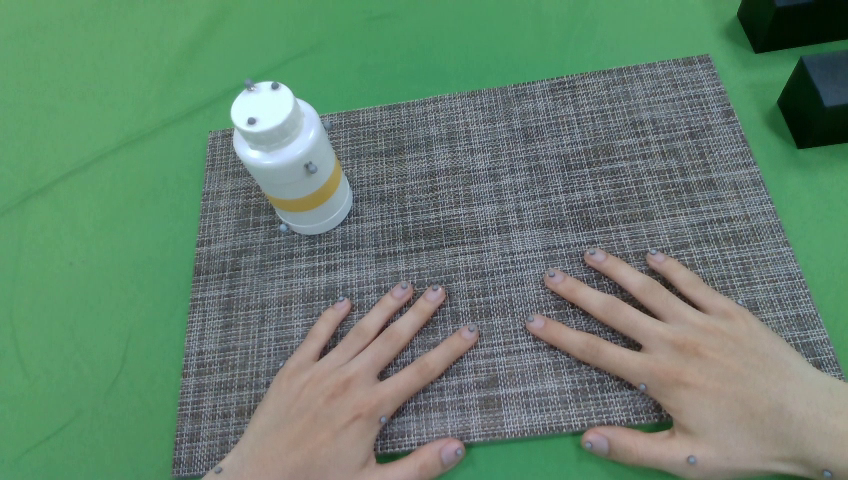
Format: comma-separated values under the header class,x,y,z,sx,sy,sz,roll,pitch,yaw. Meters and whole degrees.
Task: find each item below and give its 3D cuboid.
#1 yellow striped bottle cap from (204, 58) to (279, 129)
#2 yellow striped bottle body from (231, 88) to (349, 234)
class,x,y,z,sx,sy,sz,roll,pitch,yaw
yellow striped bottle cap,-0.116,-0.093,0.387,0.044,0.019,0.044,-4,69,9
yellow striped bottle body,-0.100,-0.059,0.451,0.063,0.121,0.062,-3,61,7
